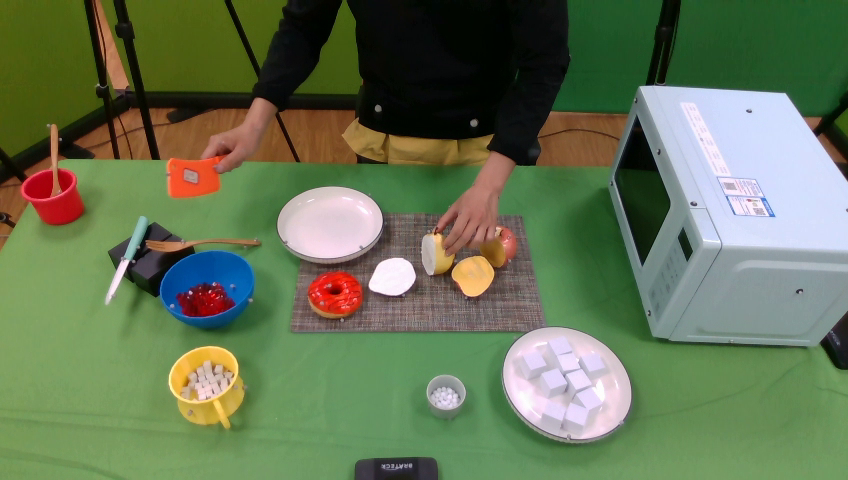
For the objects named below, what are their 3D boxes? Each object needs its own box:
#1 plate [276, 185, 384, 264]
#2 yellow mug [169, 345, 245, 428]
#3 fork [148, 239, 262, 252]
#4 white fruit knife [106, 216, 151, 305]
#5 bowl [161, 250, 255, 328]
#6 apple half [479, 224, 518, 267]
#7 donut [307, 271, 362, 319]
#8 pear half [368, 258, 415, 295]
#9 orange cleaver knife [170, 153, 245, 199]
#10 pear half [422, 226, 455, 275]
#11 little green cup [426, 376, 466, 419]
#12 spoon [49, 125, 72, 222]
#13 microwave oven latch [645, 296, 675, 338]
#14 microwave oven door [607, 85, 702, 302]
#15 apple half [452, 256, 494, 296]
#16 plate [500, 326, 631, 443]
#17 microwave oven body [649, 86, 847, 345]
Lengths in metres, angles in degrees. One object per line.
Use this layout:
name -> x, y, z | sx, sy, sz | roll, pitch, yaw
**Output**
plate -> -0.184, -0.027, 1.195 | 0.209, 0.038, 0.208 | 2, 46, -2
yellow mug -> -0.322, 0.230, 0.922 | 0.100, 0.064, 0.130 | -24, 53, -25
fork -> -0.399, 0.007, 1.118 | 0.208, 0.019, 0.028 | -4, 36, -36
white fruit knife -> -0.519, 0.032, 1.066 | 0.027, 0.016, 0.206 | -18, 45, 19
bowl -> -0.362, 0.098, 1.040 | 0.151, 0.077, 0.150 | 2, 45, -2
apple half -> 0.148, 0.008, 1.160 | 0.053, 0.075, 0.080 | -24, 48, -30
donut -> -0.157, 0.097, 1.073 | 0.099, 0.048, 0.098 | 4, 45, -4
pear half -> -0.060, 0.073, 1.111 | 0.088, 0.031, 0.070 | -26, 66, -8
orange cleaver knife -> -0.400, -0.123, 1.131 | 0.012, 0.077, 0.211 | 1, 15, 21
pear half -> 0.031, 0.012, 1.122 | 0.056, 0.110, 0.076 | -16, 53, -21
little green cup -> 0.033, 0.248, 0.950 | 0.061, 0.039, 0.061 | 2, 46, -2
spoon -> -0.717, -0.132, 1.189 | 0.041, 0.021, 0.193 | -3, 90, -7
microwave oven latch -> 0.412, 0.134, 1.061 | 0.030, 0.029, 0.078 | 3, 45, 0
microwave oven door -> 0.423, -0.094, 1.140 | 0.039, 0.245, 0.353 | 2, 46, -1
apple half -> 0.095, 0.070, 1.120 | 0.081, 0.033, 0.081 | -7, 62, 14
plate -> 0.224, 0.233, 0.978 | 0.208, 0.039, 0.206 | 2, 46, -2
microwave oven body -> 0.568, -0.053, 1.118 | 0.326, 0.261, 0.439 | 2, 45, -1
